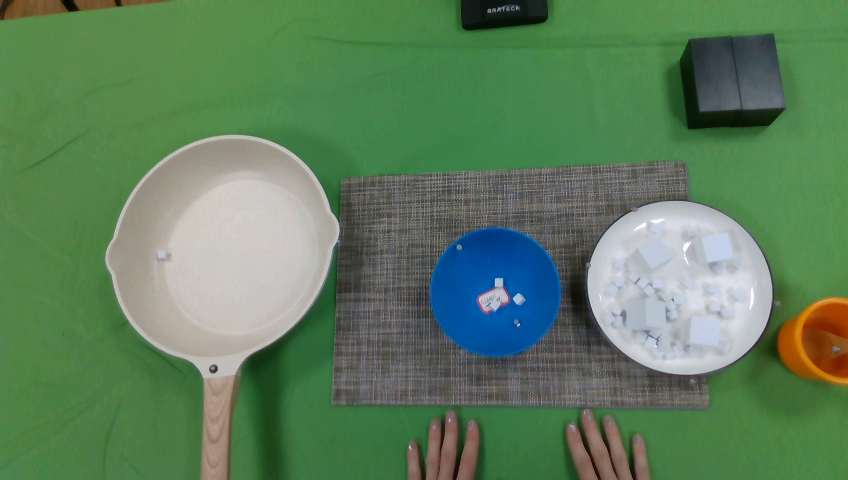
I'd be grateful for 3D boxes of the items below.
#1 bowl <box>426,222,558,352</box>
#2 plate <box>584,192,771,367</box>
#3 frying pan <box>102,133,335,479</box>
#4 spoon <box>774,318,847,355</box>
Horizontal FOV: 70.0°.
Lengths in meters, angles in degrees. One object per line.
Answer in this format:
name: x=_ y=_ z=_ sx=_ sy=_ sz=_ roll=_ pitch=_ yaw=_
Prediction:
bowl: x=0.081 y=0.061 z=0.723 sx=0.151 sy=0.077 sz=0.150 roll=-2 pitch=77 yaw=7
plate: x=0.294 y=0.046 z=0.719 sx=0.207 sy=0.039 sz=0.206 roll=-2 pitch=77 yaw=7
frying pan: x=-0.251 y=0.103 z=0.749 sx=0.306 sy=0.103 sz=0.484 roll=-6 pitch=68 yaw=7
spoon: x=0.470 y=0.102 z=0.629 sx=0.022 sy=0.193 sz=0.041 roll=14 pitch=75 yaw=-35
